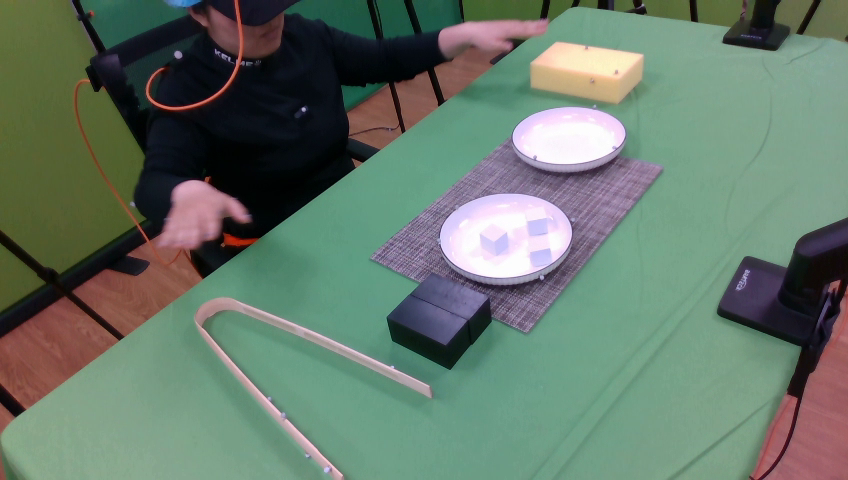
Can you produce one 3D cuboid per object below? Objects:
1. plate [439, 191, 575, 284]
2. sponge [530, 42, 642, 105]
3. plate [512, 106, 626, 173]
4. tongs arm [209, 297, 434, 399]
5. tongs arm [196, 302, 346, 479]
[{"bbox_3d":[0.129,-0.001,0.942,0.207,0.039,0.206,-5,40,5],"label":"plate"},{"bbox_3d":[0.350,-0.365,1.317,0.205,0.061,0.118,21,50,31],"label":"sponge"},{"bbox_3d":[0.269,-0.185,1.132,0.209,0.038,0.208,-5,40,5],"label":"plate"},{"bbox_3d":[-0.153,0.143,0.837,0.385,0.028,0.028,16,49,28],"label":"tongs arm"},{"bbox_3d":[-0.206,0.185,0.791,0.381,0.026,0.051,28,51,37],"label":"tongs arm"}]
